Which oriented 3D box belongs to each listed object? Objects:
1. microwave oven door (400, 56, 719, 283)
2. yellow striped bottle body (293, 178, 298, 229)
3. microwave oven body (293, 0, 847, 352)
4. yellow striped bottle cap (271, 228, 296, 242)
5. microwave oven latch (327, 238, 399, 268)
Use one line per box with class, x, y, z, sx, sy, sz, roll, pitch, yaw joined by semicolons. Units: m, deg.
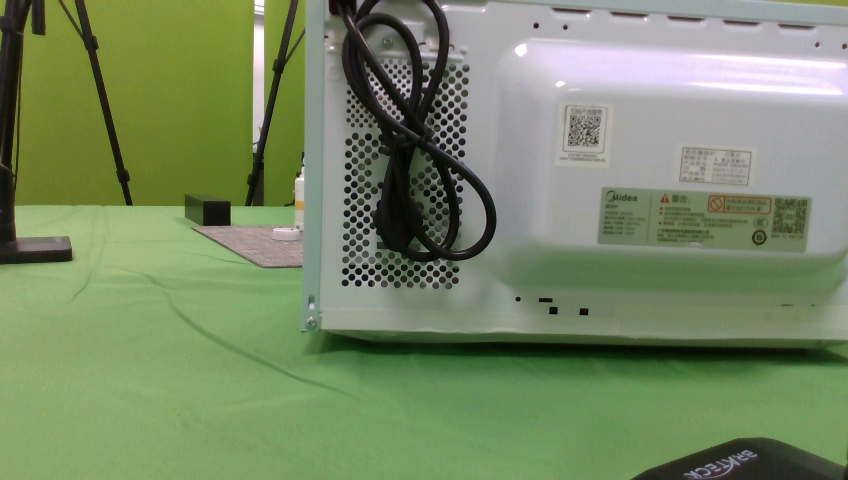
microwave oven door;0.155;-0.078;0.698;0.356;0.243;0.039;2;8;-5
yellow striped bottle body;-0.214;-0.078;1.141;0.063;0.120;0.063;3;7;0
microwave oven body;0.122;-0.055;0.550;0.442;0.260;0.325;3;7;-5
yellow striped bottle cap;-0.232;-0.008;1.011;0.044;0.018;0.044;4;7;0
microwave oven latch;-0.069;0.015;0.694;0.079;0.029;0.030;3;7;-3
